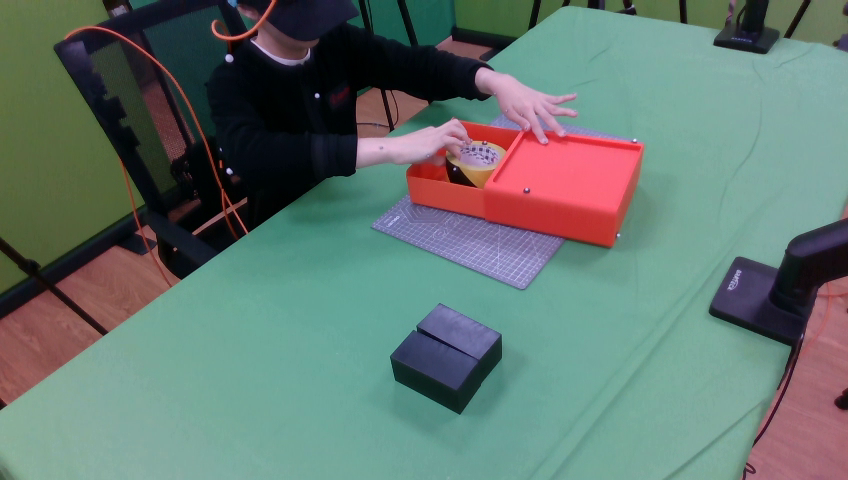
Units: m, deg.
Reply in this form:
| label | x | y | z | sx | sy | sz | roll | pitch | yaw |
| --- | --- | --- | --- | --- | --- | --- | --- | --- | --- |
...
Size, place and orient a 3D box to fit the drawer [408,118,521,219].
| label | x | y | z | sx | sy | sz | roll | pitch | yaw |
| --- | --- | --- | --- | --- | --- | --- | --- | --- | --- |
| drawer | 0.108 | -0.125 | 1.061 | 0.210 | 0.073 | 0.194 | 14 | 45 | 24 |

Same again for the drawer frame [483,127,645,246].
| label | x | y | z | sx | sy | sz | roll | pitch | yaw |
| --- | --- | --- | --- | --- | --- | --- | --- | --- | --- |
| drawer frame | 0.234 | -0.096 | 1.003 | 0.212 | 0.083 | 0.202 | 13 | 44 | 22 |

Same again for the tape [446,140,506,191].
| label | x | y | z | sx | sy | sz | roll | pitch | yaw |
| --- | --- | --- | --- | --- | --- | --- | --- | --- | --- |
| tape | 0.095 | -0.126 | 1.062 | 0.117 | 0.053 | 0.116 | 1 | 37 | -1 |
